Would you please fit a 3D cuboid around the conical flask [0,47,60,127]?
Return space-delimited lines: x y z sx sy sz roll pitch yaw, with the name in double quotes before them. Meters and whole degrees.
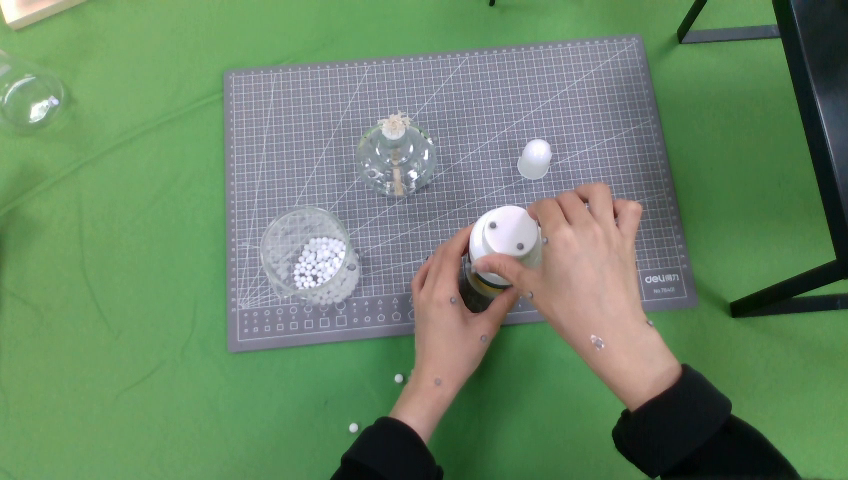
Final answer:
"conical flask" -0.421 -0.167 0.584 0.075 0.122 0.075 0 75 1

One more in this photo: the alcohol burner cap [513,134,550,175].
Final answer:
"alcohol burner cap" 0.108 -0.088 0.600 0.034 0.048 0.033 0 75 0

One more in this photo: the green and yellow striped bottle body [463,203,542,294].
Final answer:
"green and yellow striped bottle body" 0.068 0.007 0.535 0.063 0.120 0.063 0 75 1

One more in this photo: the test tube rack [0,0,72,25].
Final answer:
"test tube rack" -0.362 -0.326 0.644 0.242 0.085 0.066 -26 76 -6

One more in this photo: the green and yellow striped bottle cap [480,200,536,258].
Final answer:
"green and yellow striped bottle cap" 0.067 -0.009 0.481 0.045 0.020 0.045 0 76 2

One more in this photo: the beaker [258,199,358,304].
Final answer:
"beaker" -0.100 0.018 0.544 0.074 0.101 0.083 24 77 7

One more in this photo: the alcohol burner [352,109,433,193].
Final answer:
"alcohol burner" -0.030 -0.088 0.564 0.078 0.119 0.077 0 74 -1
